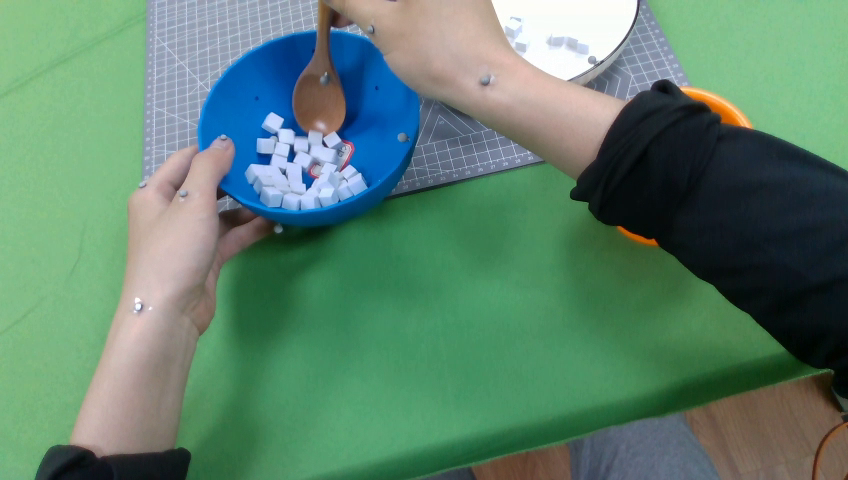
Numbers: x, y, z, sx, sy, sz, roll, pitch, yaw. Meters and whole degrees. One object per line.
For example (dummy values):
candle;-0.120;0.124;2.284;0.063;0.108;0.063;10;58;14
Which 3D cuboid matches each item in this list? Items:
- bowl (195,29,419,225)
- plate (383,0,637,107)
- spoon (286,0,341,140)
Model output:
bowl;-0.076;-0.068;0.437;0.151;0.077;0.150;-1;65;3
plate;0.070;-0.193;0.515;0.209;0.038;0.207;-3;64;5
spoon;-0.064;-0.135;0.387;0.041;0.195;0.021;22;56;-1
